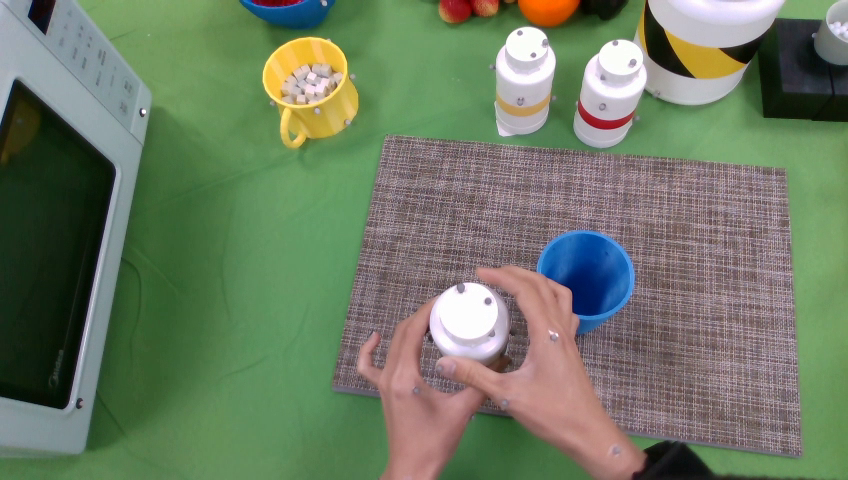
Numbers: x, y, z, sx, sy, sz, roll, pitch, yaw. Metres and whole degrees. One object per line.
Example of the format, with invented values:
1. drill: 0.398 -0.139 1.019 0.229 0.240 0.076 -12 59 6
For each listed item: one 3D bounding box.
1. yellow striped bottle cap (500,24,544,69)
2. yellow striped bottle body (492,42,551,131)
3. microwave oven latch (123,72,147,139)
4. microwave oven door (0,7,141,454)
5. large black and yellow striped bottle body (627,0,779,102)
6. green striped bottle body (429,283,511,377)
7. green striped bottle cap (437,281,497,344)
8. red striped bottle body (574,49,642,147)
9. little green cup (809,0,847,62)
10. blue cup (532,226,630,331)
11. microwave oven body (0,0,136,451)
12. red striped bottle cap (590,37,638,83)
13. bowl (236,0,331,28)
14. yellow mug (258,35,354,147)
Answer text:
1. yellow striped bottle cap: 0.101 -0.198 0.620 0.044 0.019 0.044 -2 69 4
2. yellow striped bottle body: 0.106 -0.179 0.668 0.063 0.121 0.062 -2 67 6
3. microwave oven latch: -0.357 -0.162 0.731 0.030 0.030 0.078 -1 69 5
4. microwave oven door: -0.366 0.002 0.556 0.039 0.245 0.353 -3 68 5
5. large black and yellow striped bottle body: 0.296 -0.251 0.644 0.130 0.185 0.130 -2 68 5
6. green striped bottle body: 0.038 0.074 0.495 0.063 0.120 0.063 -1 70 4
7. green striped bottle cap: 0.031 0.053 0.443 0.044 0.020 0.044 -2 65 4
8. red striped bottle body: 0.196 -0.158 0.651 0.063 0.121 0.062 -4 65 8
9. little green cup: 0.444 -0.222 0.642 0.061 0.039 0.061 -1 67 4
10. blue cup: 0.142 0.046 0.579 0.092 0.101 0.092 -1 67 4
11. microwave oven body: -0.511 -0.028 0.588 0.326 0.262 0.438 -3 68 4
12. red striped bottle cap: 0.189 -0.180 0.603 0.044 0.018 0.044 0 67 1
13. bowl: -0.172 -0.330 0.780 0.151 0.077 0.150 -2 68 4
14. yellow mug: -0.144 -0.170 0.718 0.099 0.064 0.130 16 71 11
